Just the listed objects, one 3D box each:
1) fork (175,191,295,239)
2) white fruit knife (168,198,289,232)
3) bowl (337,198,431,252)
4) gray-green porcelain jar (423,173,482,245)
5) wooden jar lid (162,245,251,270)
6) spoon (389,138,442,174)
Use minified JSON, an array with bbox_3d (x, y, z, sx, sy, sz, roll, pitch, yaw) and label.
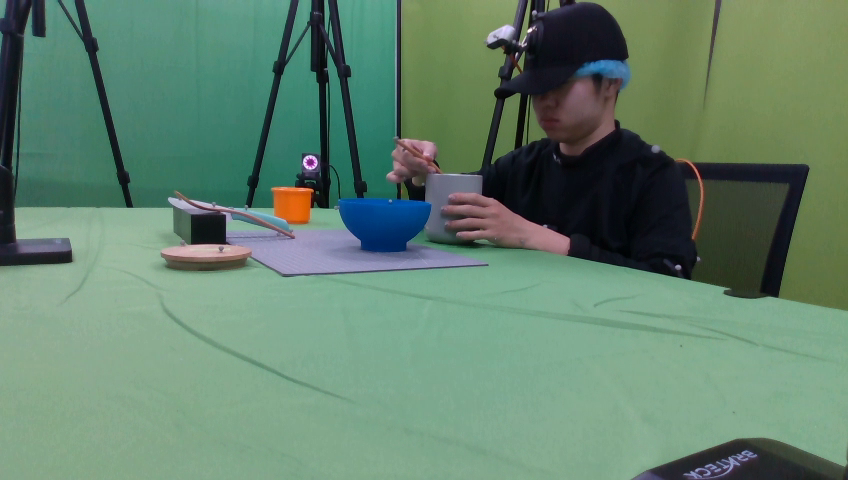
[{"bbox_3d":[-0.305,-0.039,0.993,0.208,0.018,0.028,19,-9,-34],"label":"fork"},{"bbox_3d":[-0.329,-0.044,1.036,0.208,0.027,0.016,14,-1,-32],"label":"white fruit knife"},{"bbox_3d":[-0.066,-0.024,0.967,0.151,0.077,0.151,3,7,0],"label":"bowl"},{"bbox_3d":[0.052,-0.059,1.115,0.106,0.126,0.106,3,8,0],"label":"gray-green porcelain jar"},{"bbox_3d":[-0.278,0.022,0.777,0.108,0.020,0.108,2,6,0],"label":"wooden jar lid"},{"bbox_3d":[0.015,-0.128,1.098,0.194,0.021,0.041,38,1,-18],"label":"spoon"}]
